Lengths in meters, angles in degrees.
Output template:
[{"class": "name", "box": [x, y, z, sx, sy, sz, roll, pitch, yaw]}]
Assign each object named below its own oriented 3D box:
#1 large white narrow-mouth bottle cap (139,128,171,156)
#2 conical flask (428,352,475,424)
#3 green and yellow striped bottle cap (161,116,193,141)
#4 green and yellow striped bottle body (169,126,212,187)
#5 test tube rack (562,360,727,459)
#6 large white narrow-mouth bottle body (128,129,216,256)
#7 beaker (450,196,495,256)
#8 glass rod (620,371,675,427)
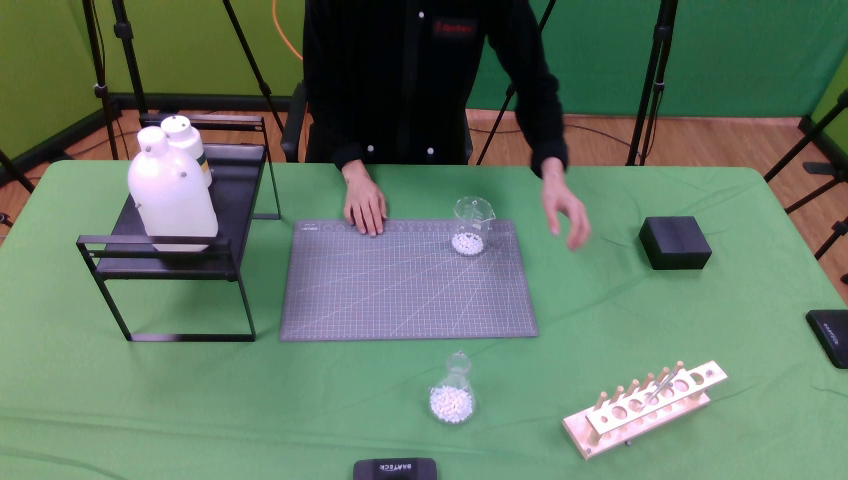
[{"class": "large white narrow-mouth bottle cap", "box": [-0.359, -0.131, 0.808, 0.038, 0.024, 0.037, 3, 47, -3]}, {"class": "conical flask", "box": [0.046, 0.220, 0.920, 0.075, 0.122, 0.075, 2, 46, -2]}, {"class": "green and yellow striped bottle cap", "box": [-0.387, -0.174, 0.946, 0.045, 0.020, 0.045, 3, 44, -3]}, {"class": "green and yellow striped bottle body", "box": [-0.389, -0.139, 0.984, 0.063, 0.120, 0.063, 2, 46, -2]}, {"class": "test tube rack", "box": [0.341, 0.247, 0.940, 0.243, 0.085, 0.066, -16, 49, -18]}, {"class": "large white narrow-mouth bottle body", "box": [-0.366, -0.073, 0.872, 0.102, 0.195, 0.101, 3, 47, -3]}, {"class": "beaker", "box": [0.092, -0.024, 1.170, 0.084, 0.101, 0.073, 15, 48, 10]}, {"class": "glass rod", "box": [0.316, 0.230, 0.863, 0.008, 0.200, 0.008, 3, 54, -3]}]
